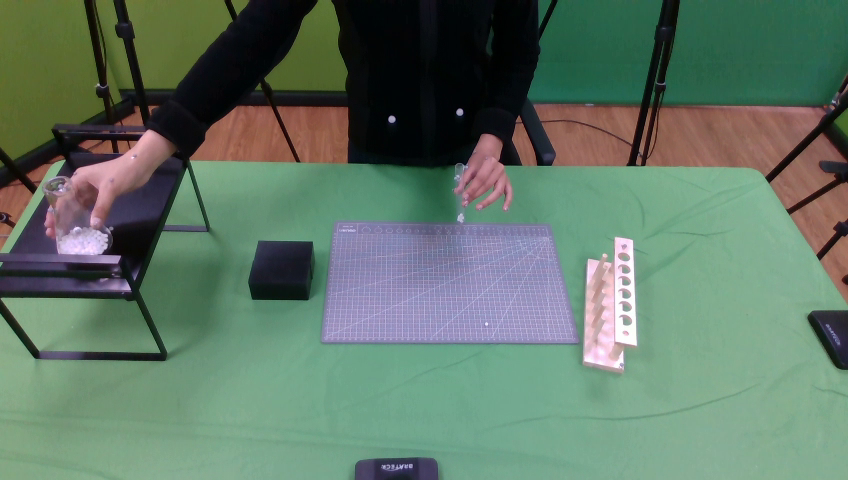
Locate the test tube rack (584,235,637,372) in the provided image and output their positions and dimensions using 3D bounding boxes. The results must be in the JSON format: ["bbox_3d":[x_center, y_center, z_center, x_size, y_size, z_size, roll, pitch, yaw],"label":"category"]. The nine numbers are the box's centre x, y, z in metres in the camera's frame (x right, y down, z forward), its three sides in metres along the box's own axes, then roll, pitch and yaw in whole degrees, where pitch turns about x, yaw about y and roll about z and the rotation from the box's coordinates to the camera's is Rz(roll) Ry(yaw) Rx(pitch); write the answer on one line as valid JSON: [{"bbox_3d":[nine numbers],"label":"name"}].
[{"bbox_3d":[0.329,0.103,1.073,0.067,0.085,0.241,11,47,7],"label":"test tube rack"}]

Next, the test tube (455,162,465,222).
[{"bbox_3d":[0.064,-0.082,1.080,0.017,0.151,0.017,-2,52,3],"label":"test tube"}]

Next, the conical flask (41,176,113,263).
[{"bbox_3d":[-0.496,-0.032,0.853,0.075,0.122,0.075,1,44,-1],"label":"conical flask"}]
